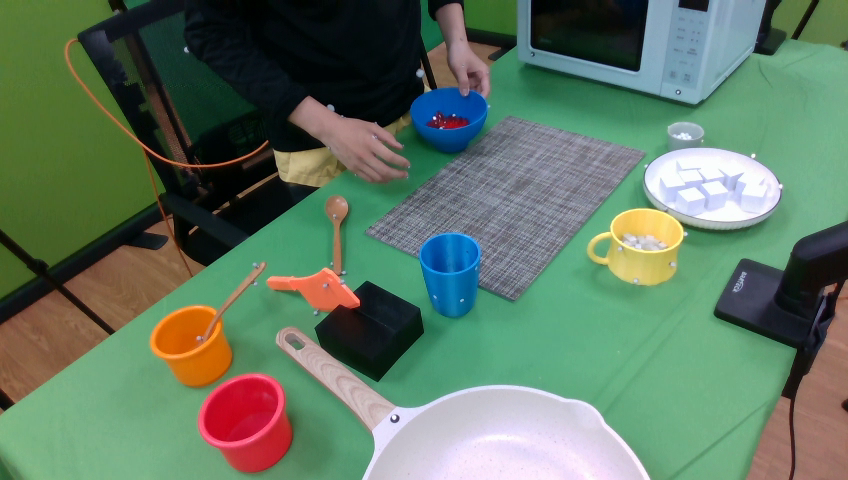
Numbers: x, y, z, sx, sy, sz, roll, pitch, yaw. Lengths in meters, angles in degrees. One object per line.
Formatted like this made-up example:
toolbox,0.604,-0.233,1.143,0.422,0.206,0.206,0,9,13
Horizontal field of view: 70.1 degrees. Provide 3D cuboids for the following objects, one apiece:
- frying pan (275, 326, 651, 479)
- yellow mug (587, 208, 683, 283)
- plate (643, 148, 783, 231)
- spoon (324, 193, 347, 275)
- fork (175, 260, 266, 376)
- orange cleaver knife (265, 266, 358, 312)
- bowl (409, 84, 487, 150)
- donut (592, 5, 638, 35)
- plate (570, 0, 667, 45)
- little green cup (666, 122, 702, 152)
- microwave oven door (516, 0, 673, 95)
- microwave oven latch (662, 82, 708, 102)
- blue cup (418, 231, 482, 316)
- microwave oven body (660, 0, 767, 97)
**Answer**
frying pan,0.004,0.229,0.641,0.484,0.103,0.308,34,54,28
yellow mug,0.305,0.009,0.884,0.131,0.064,0.099,-4,41,5
plate,0.464,-0.080,0.986,0.207,0.039,0.206,-4,41,4
spoon,-0.148,-0.014,1.008,0.042,0.022,0.192,0,40,-8
fork,-0.268,0.103,0.792,0.207,0.019,0.028,-51,41,16
orange cleaver knife,-0.164,0.073,0.864,0.210,0.077,0.012,-6,31,50
bowl,0.048,-0.229,1.175,0.151,0.077,0.150,-2,45,3
donut,0.427,-0.491,1.350,0.099,0.048,0.098,-8,39,7
plate,0.436,-0.490,1.367,0.209,0.038,0.208,-6,40,5
little green cup,0.471,-0.184,1.102,0.061,0.039,0.061,-5,41,5
microwave oven door,0.344,-0.458,1.256,0.353,0.245,0.039,26,51,33
microwave oven latch,0.518,-0.298,1.202,0.078,0.029,0.030,28,52,35
blue cup,0.040,0.053,0.843,0.092,0.100,0.092,-4,43,4
microwave oven body,0.473,-0.516,1.313,0.438,0.261,0.327,26,51,34
